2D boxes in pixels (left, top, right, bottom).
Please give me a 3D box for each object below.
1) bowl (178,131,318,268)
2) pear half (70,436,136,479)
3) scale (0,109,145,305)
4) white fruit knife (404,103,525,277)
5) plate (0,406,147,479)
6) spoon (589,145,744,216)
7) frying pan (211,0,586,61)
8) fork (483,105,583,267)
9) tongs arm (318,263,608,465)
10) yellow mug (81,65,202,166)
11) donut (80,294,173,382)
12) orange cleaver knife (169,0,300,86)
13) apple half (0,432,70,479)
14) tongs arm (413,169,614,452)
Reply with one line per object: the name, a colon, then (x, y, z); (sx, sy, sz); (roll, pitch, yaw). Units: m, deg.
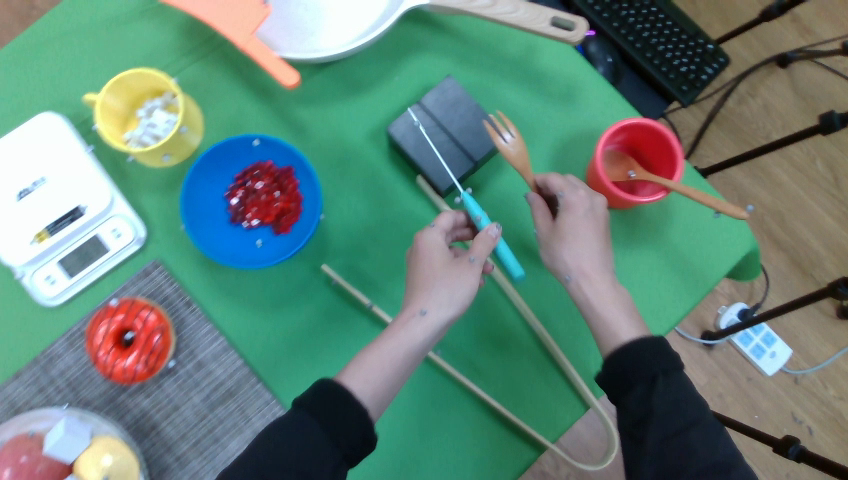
bowl: (-0.190, -0.039, 0.689); (0.151, 0.077, 0.151); (0, 82, -1)
pear half: (-0.350, 0.257, 0.653); (0.070, 0.031, 0.087); (-40, 82, 8)
scale: (-0.439, -0.040, 0.707); (0.148, 0.031, 0.200); (-37, 85, -5)
white fruit knife: (0.040, -0.045, 0.591); (0.016, 0.027, 0.208); (-34, 101, 10)
plate: (-0.399, 0.284, 0.655); (0.209, 0.038, 0.208); (0, 82, -1)
spoon: (0.260, -0.065, 0.667); (0.041, 0.022, 0.191); (-47, 41, -7)
frying pan: (-0.047, -0.312, 0.716); (0.486, 0.103, 0.306); (21, 83, 10)
fork: (0.120, -0.050, 0.634); (0.028, 0.018, 0.209); (-45, 118, -21)
tongs arm: (0.042, 0.133, 0.689); (0.384, 0.026, 0.050); (40, 82, 3)
yellow mug: (-0.335, -0.148, 0.707); (0.131, 0.064, 0.099); (16, 82, 2)
donut: (-0.333, 0.110, 0.678); (0.099, 0.048, 0.099); (0, 84, 1)
orange cleaver knife: (-0.213, -0.256, 0.686); (0.211, 0.012, 0.077); (38, 80, 4)
apple half: (-0.431, 0.251, 0.642); (0.081, 0.053, 0.074); (37, 85, 1)
tongs arm: (0.101, 0.074, 0.698); (0.028, 0.028, 0.386); (-35, 85, -11)
